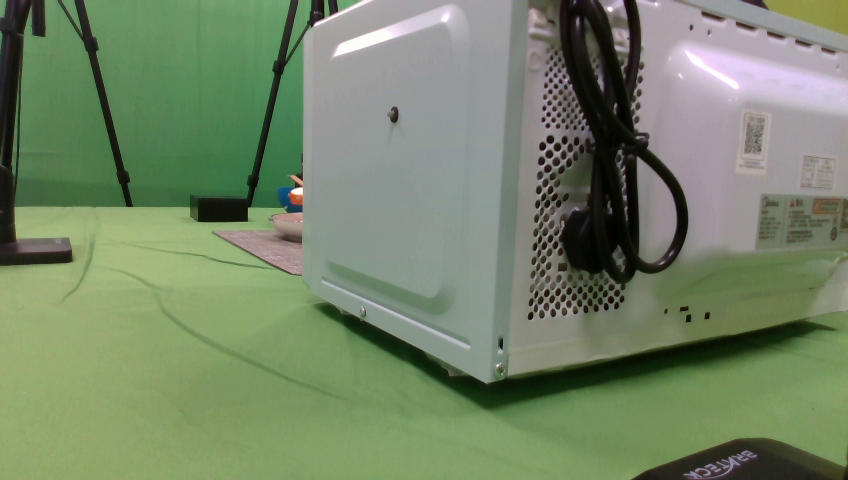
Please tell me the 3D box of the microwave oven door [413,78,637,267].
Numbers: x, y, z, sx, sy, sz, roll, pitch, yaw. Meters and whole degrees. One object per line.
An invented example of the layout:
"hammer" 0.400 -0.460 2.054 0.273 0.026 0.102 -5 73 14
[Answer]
"microwave oven door" 0.128 -0.104 0.889 0.354 0.243 0.039 9 10 41

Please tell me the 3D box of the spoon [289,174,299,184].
"spoon" -0.261 -0.111 1.343 0.042 0.021 0.192 -7 33 -31

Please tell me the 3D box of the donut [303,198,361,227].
"donut" -0.160 -0.049 1.056 0.099 0.048 0.099 4 7 0

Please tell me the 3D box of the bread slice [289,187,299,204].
"bread slice" -0.167 -0.079 1.052 0.132 0.019 0.105 0 13 -1

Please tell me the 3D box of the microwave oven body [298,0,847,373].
"microwave oven body" 0.151 -0.055 0.543 0.444 0.260 0.324 -1 7 -33

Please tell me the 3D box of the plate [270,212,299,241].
"plate" -0.162 -0.022 1.058 0.208 0.039 0.207 2 7 0

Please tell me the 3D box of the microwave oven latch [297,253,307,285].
"microwave oven latch" -0.082 0.027 0.582 0.079 0.029 0.030 -1 7 -32

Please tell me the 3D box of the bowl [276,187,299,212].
"bowl" -0.241 -0.073 1.302 0.151 0.077 0.151 2 7 0

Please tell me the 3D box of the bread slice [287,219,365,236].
"bread slice" -0.170 -0.023 1.057 0.134 0.018 0.107 1 7 -6
